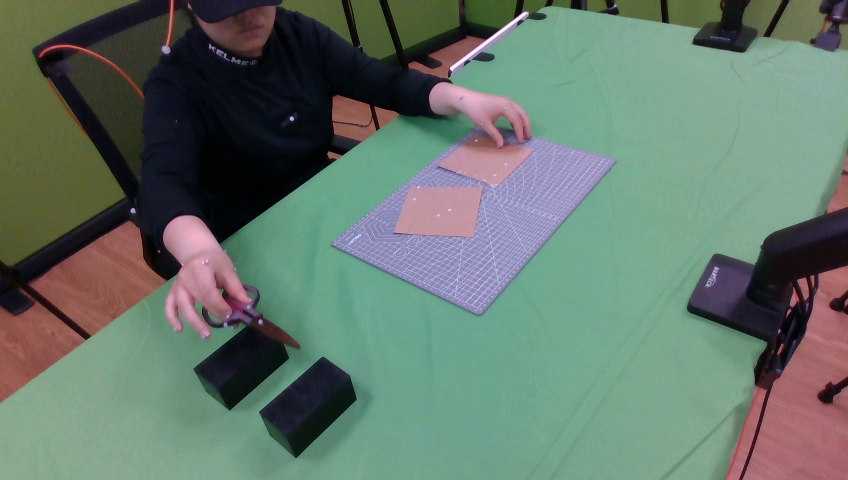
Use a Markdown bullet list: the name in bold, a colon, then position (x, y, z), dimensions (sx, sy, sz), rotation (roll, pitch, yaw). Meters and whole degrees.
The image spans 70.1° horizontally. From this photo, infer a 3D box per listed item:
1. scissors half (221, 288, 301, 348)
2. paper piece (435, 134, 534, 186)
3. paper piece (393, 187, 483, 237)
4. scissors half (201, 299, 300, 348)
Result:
- **scissors half**: position (-0.203, 0.097, 0.758), dimensions (0.040, 0.013, 0.173), rotation (-32, 39, -30)
- **paper piece**: position (0.116, -0.155, 1.142), dimensions (0.135, 0.009, 0.138), rotation (26, 48, 27)
- **paper piece**: position (0.027, -0.051, 1.033), dimensions (0.135, 0.004, 0.135), rotation (3, 41, 12)
- **scissors half**: position (-0.216, 0.106, 0.746), dimensions (0.174, 0.013, 0.040), rotation (13, 35, 30)
